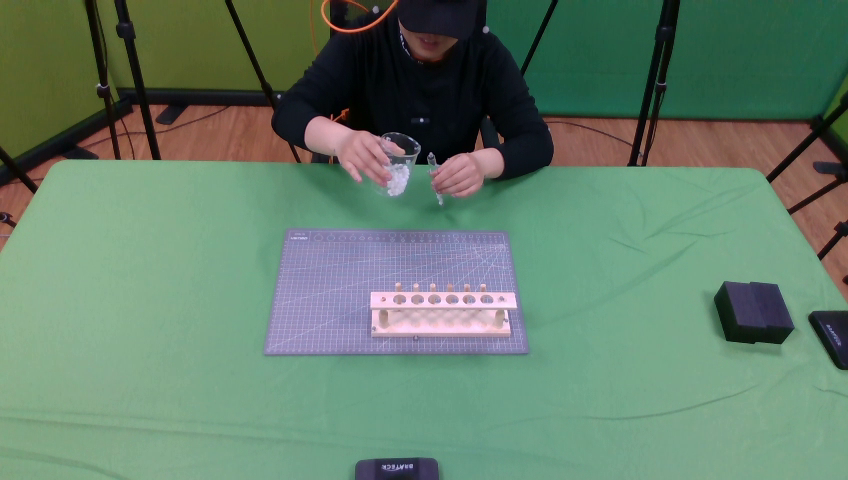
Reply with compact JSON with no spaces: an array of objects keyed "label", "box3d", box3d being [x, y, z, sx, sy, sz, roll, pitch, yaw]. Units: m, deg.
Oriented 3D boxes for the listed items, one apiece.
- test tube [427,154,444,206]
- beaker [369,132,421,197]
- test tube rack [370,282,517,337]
[{"label":"test tube","box3d":[0.024,-0.115,1.198,0.017,0.151,0.017,-5,56,7]},{"label":"beaker","box3d":[-0.055,-0.135,1.110,0.084,0.100,0.073,-8,47,-33]},{"label":"test tube rack","box3d":[0.030,0.116,1.041,0.242,0.085,0.066,1,46,-4]}]
